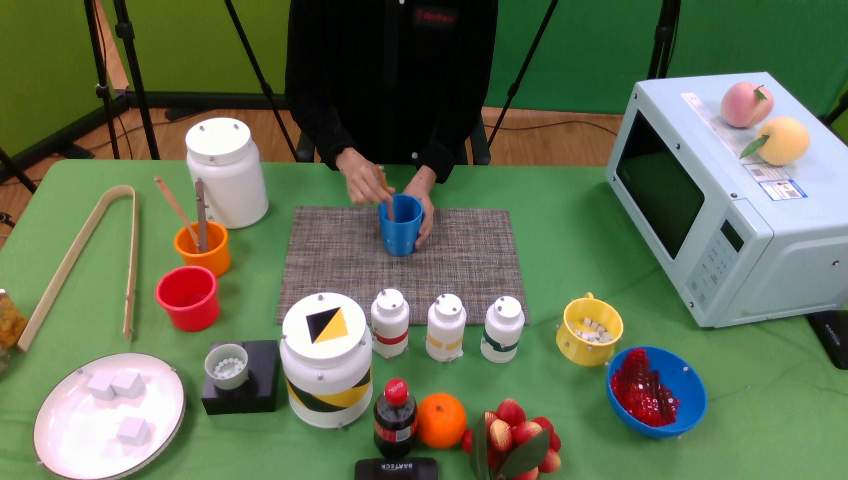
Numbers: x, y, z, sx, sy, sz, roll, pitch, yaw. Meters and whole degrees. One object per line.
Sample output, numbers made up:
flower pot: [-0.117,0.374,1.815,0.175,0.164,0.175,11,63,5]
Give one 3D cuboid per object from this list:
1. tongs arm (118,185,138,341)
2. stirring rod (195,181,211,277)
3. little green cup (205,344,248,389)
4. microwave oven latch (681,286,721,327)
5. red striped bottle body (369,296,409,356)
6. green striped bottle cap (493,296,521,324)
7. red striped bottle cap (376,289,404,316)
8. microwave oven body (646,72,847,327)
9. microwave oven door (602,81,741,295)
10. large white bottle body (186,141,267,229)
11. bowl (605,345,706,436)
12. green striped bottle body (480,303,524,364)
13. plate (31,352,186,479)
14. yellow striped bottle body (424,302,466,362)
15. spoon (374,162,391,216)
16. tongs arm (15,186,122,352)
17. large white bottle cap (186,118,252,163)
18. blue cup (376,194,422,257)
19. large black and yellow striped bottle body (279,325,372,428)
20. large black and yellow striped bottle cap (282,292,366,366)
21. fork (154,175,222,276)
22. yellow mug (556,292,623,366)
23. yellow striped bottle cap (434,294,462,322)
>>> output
tongs arm: [-0.555,0.028,1.116,0.051,0.026,0.382,-10,47,-8]
stirring rod: [-0.403,-0.020,1.104,0.014,0.006,0.176,-6,89,-9]
little green cup: [-0.294,0.191,0.909,0.061,0.039,0.061,1,47,-1]
microwave oven latch: [0.494,0.119,1.086,0.030,0.029,0.078,-5,46,-9]
red striped bottle body: [-0.059,0.134,0.997,0.063,0.120,0.062,5,48,-5]
green striped bottle cap: [0.133,0.111,0.962,0.044,0.020,0.044,2,47,-2]
red striped bottle cap: [-0.054,0.098,0.958,0.044,0.018,0.044,0,48,1]
microwave oven body: [0.607,-0.089,1.164,0.326,0.261,0.438,-7,46,-10]
microwave oven door: [0.456,-0.107,1.162,0.039,0.245,0.353,-7,47,-11]
large white bottle body: [-0.382,-0.127,1.175,0.131,0.185,0.130,2,47,-2]
bowl: [0.351,0.247,0.950,0.151,0.077,0.150,2,46,-2]
green striped bottle body: [0.129,0.147,1.000,0.063,0.120,0.063,2,46,-2]
plate: [-0.459,0.262,0.898,0.209,0.038,0.208,2,46,-2]
yellow striped bottle body: [0.035,0.143,0.995,0.063,0.121,0.062,3,46,-3]
spoon: [-0.069,-0.063,1.105,0.021,0.195,0.041,-33,46,-28]
tongs arm: [-0.642,0.036,1.106,0.028,0.028,0.385,-2,46,5]
large white bottle cap: [-0.377,-0.185,1.115,0.115,0.018,0.114,2,47,-2]
blue cup: [-0.049,-0.023,1.158,0.093,0.101,0.092,2,45,-2]
large black and yellow striped bottle body: [-0.143,0.181,0.900,0.131,0.185,0.130,2,46,-2]
large black and yellow striped bottle cap: [-0.138,0.121,0.841,0.115,0.019,0.114,3,47,-3]
fork: [-0.431,-0.026,1.101,0.028,0.018,0.207,-33,100,-25]
yellow mug: [0.285,0.145,1.051,0.100,0.064,0.130,7,46,4]
yellow striped bottle cap: [0.038,0.107,0.958,0.044,0.019,0.044,2,45,-2]
